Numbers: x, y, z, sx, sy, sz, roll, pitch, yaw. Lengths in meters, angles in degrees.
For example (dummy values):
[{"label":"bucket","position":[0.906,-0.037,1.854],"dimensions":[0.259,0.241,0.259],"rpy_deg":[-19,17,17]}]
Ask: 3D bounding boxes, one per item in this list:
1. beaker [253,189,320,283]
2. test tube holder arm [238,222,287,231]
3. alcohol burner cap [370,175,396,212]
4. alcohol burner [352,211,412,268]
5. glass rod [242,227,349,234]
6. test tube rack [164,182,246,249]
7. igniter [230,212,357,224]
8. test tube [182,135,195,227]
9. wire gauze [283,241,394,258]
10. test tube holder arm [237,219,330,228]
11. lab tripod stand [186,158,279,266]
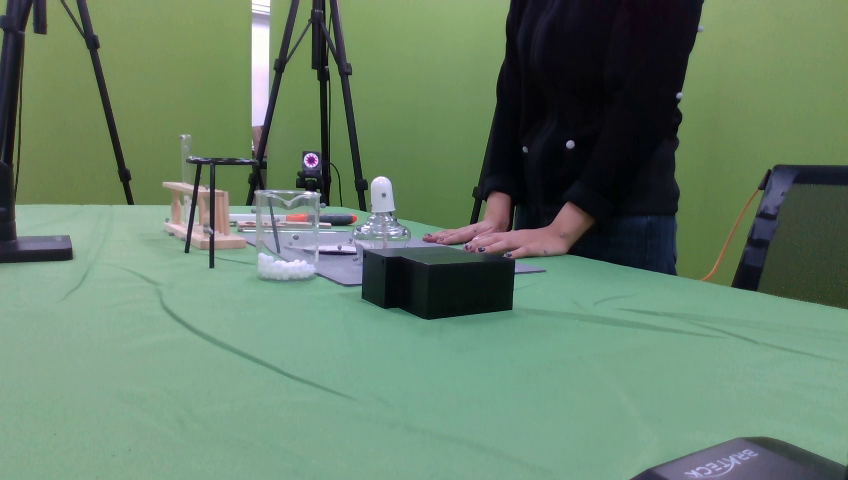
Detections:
[{"label":"beaker","position":[-0.156,-0.005,0.689],"dimensions":[0.074,0.100,0.083],"rpy_deg":[0,8,-13]},{"label":"test tube holder arm","position":[-0.297,-0.024,1.114],"dimensions":[0.088,0.015,0.010],"rpy_deg":[-3,46,-33]},{"label":"alcohol burner cap","position":[-0.055,-0.059,0.778],"dimensions":[0.034,0.048,0.034],"rpy_deg":[-7,10,2]},{"label":"alcohol burner","position":[-0.055,-0.023,0.784],"dimensions":[0.078,0.119,0.078],"rpy_deg":[2,9,0]},{"label":"glass rod","position":[-0.232,-0.017,1.110],"dimensions":[0.201,0.008,0.008],"rpy_deg":[1,6,-30]},{"label":"test tube rack","position":[-0.360,-0.045,0.983],"dimensions":[0.067,0.085,0.241],"rpy_deg":[-3,9,-34]},{"label":"igniter","position":[-0.271,-0.044,1.232],"dimensions":[0.278,0.025,0.057],"rpy_deg":[-2,-2,-27]},{"label":"test tube","position":[-0.382,-0.095,0.983],"dimensions":[0.017,0.150,0.017],"rpy_deg":[-1,2,0]},{"label":"wire gauze","position":[-0.127,0.013,0.894],"dimensions":[0.126,0.011,0.121],"rpy_deg":[1,6,-35]},{"label":"test tube holder arm","position":[-0.261,-0.030,1.142],"dimensions":[0.179,0.015,0.013],"rpy_deg":[-4,47,-34]},{"label":"lab tripod stand","position":[-0.261,-0.041,0.796],"dimensions":[0.148,0.131,0.148],"rpy_deg":[3,9,0]}]
